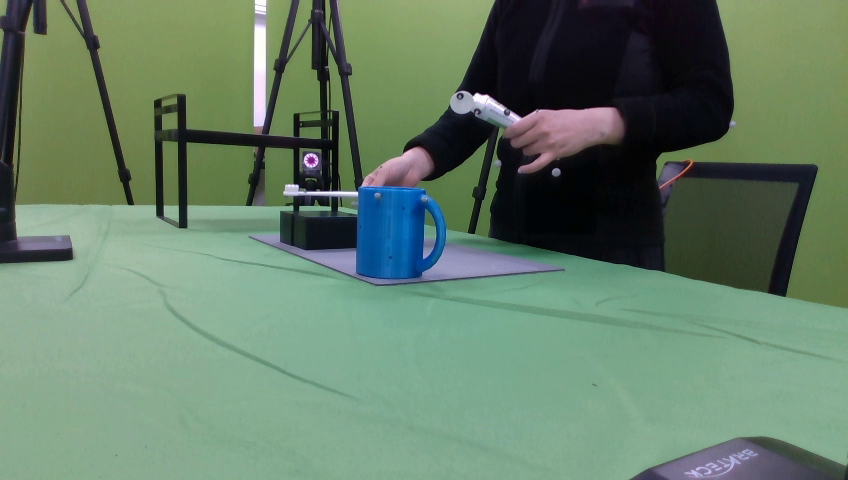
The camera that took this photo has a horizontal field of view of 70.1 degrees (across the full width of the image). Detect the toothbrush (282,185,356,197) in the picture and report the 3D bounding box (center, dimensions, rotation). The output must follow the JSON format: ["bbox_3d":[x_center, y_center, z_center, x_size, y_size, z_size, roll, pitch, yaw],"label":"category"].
[{"bbox_3d":[-0.138,-0.076,0.960,0.183,0.016,0.014,-1,11,-37],"label":"toothbrush"}]

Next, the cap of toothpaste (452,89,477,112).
[{"bbox_3d":[0.058,-0.201,0.868,0.037,0.037,0.011,2,42,-3],"label":"cap of toothpaste"}]

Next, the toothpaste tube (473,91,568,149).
[{"bbox_3d":[0.139,-0.175,0.902,0.165,0.034,0.055,25,14,-13],"label":"toothpaste tube"}]

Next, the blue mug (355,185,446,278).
[{"bbox_3d":[-0.027,-0.011,0.723,0.116,0.106,0.083,6,9,27],"label":"blue mug"}]
